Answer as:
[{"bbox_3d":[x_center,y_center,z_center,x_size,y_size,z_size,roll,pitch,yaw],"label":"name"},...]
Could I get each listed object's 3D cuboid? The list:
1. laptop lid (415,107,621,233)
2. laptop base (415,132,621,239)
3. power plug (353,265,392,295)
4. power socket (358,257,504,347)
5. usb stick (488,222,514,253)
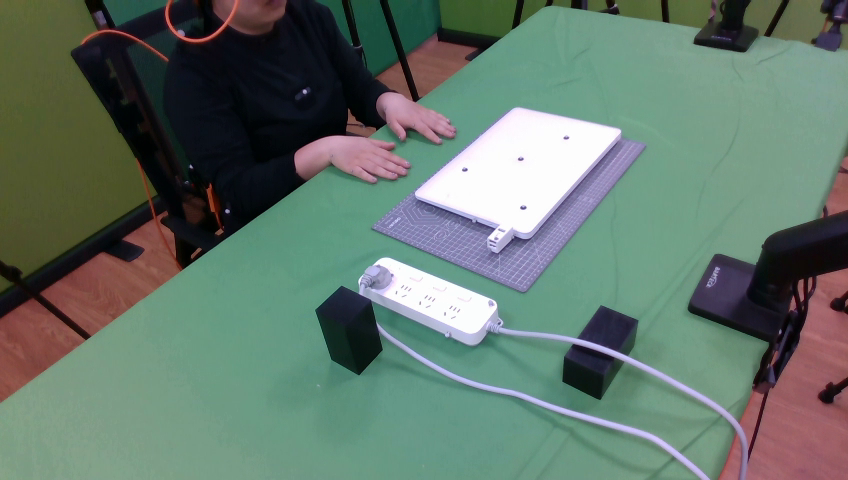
[{"bbox_3d":[0.175,-0.144,1.094,0.239,0.013,0.358,23,49,33],"label":"laptop lid"},{"bbox_3d":[0.178,-0.134,1.101,0.233,0.023,0.355,20,47,33],"label":"laptop base"},{"bbox_3d":[-0.078,0.064,0.867,0.073,0.053,0.035,-38,48,-26],"label":"power plug"},{"bbox_3d":[0.003,0.084,0.862,0.225,0.033,0.072,21,50,29],"label":"power socket"},{"bbox_3d":[0.124,-0.008,0.944,0.021,0.027,0.059,25,47,31],"label":"usb stick"}]
